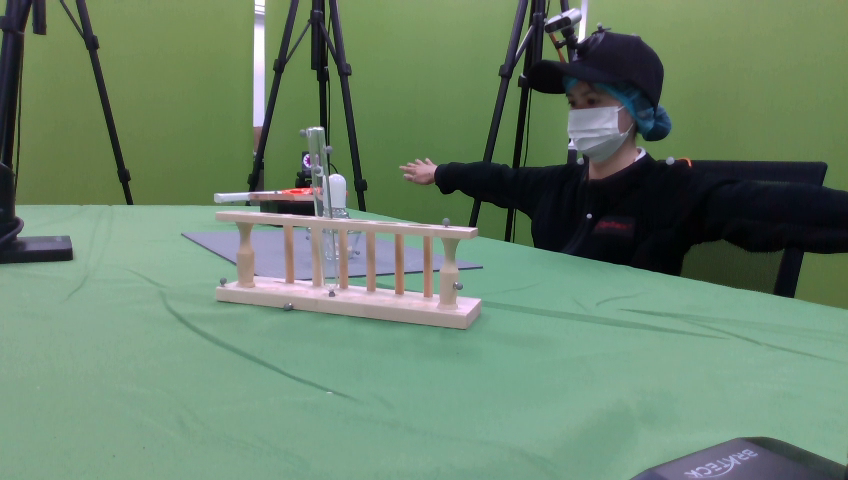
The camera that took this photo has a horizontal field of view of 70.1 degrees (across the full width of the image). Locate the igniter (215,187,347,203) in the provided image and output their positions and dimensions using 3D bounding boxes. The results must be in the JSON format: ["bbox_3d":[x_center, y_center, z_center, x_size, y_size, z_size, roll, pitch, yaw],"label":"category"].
[{"bbox_3d":[-0.293,-0.095,1.267,0.278,0.025,0.057,-6,12,-33],"label":"igniter"}]

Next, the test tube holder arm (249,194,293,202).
[{"bbox_3d":[-0.303,-0.084,1.200,0.088,0.015,0.010,-2,2,-35],"label":"test tube holder arm"}]

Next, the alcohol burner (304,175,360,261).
[{"bbox_3d":[-0.126,-0.031,0.838,0.078,0.119,0.078,3,5,0],"label":"alcohol burner"}]

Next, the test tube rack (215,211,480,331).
[{"bbox_3d":[-0.071,0.023,0.565,0.242,0.085,0.067,5,7,16],"label":"test tube rack"}]

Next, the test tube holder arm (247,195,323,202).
[{"bbox_3d":[-0.269,-0.085,1.230,0.179,0.015,0.013,-2,2,-35],"label":"test tube holder arm"}]

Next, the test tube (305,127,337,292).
[{"bbox_3d":[-0.092,-0.026,0.546,0.017,0.150,0.017,-4,9,1],"label":"test tube"}]

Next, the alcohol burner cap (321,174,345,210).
[{"bbox_3d":[-0.125,-0.067,0.833,0.034,0.048,0.034,6,9,-1],"label":"alcohol burner cap"}]
